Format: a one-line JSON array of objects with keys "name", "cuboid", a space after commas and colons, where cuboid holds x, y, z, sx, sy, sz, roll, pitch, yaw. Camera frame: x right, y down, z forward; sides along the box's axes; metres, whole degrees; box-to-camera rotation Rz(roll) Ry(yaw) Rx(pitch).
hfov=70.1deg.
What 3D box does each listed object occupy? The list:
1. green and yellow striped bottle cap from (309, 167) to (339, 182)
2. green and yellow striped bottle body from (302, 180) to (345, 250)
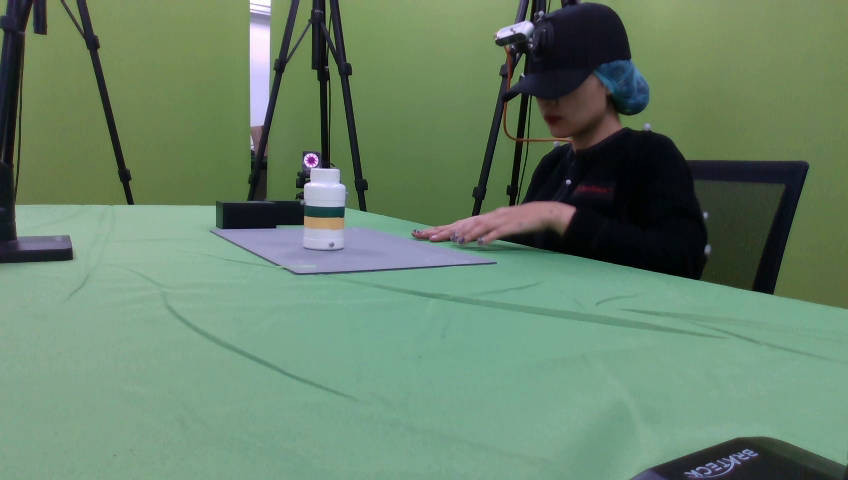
[{"name": "green and yellow striped bottle cap", "cuboid": [-0.150, -0.098, 0.912, 0.045, 0.020, 0.045, 4, 8, 0]}, {"name": "green and yellow striped bottle body", "cuboid": [-0.152, -0.047, 0.918, 0.063, 0.119, 0.063, 3, 8, 0]}]
